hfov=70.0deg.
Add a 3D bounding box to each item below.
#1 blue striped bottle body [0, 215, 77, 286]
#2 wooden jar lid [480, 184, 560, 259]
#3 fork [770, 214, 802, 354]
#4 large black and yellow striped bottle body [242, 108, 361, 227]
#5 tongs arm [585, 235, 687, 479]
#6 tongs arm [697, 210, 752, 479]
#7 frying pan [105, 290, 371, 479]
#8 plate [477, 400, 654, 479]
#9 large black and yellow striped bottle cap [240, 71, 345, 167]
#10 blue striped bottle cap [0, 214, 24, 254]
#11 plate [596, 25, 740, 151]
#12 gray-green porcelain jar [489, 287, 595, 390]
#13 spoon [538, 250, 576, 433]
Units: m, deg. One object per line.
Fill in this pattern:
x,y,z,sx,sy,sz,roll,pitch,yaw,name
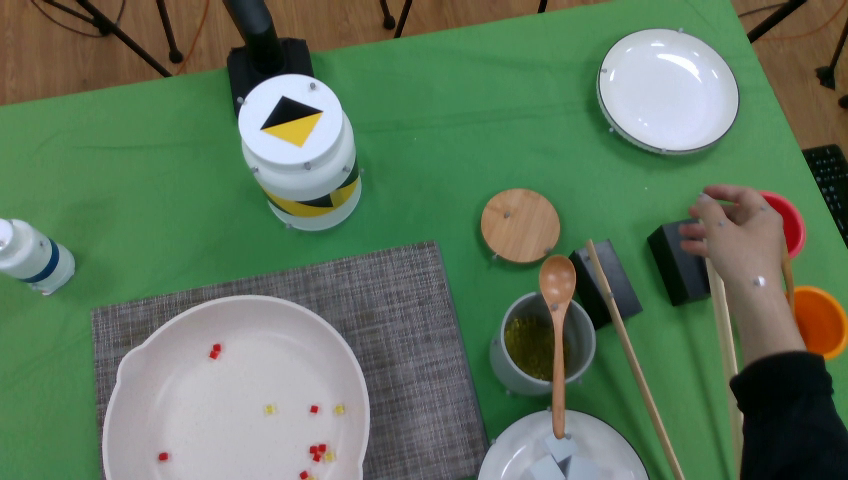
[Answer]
-0.484,0.011,0.737,0.063,0.121,0.062,1,70,-1,blue striped bottle body
0.130,-0.024,0.826,0.108,0.021,0.107,1,72,-2,wooden jar lid
0.442,0.058,0.741,0.028,0.018,0.209,-25,118,-3,fork
-0.150,-0.107,0.758,0.131,0.185,0.130,1,70,-2,large black and yellow striped bottle body
0.280,0.169,0.726,0.051,0.026,0.383,-16,82,-9,tongs arm
0.362,0.153,0.736,0.028,0.028,0.386,-2,81,-10,tongs arm
-0.254,0.286,0.656,0.306,0.103,0.486,27,64,8,frying pan
0.163,0.294,0.708,0.208,0.039,0.206,1,71,-2,plate
-0.147,-0.137,0.679,0.115,0.019,0.114,1,72,-2,large black and yellow striped bottle cap
-0.483,-0.007,0.689,0.044,0.021,0.044,1,73,-2,blue striped bottle cap
0.354,-0.220,0.892,0.209,0.038,0.207,1,71,-1,plate
0.134,0.122,0.720,0.106,0.127,0.105,1,70,-1,gray-green porcelain jar
0.143,0.106,0.651,0.042,0.022,0.192,4,75,-3,spoon
